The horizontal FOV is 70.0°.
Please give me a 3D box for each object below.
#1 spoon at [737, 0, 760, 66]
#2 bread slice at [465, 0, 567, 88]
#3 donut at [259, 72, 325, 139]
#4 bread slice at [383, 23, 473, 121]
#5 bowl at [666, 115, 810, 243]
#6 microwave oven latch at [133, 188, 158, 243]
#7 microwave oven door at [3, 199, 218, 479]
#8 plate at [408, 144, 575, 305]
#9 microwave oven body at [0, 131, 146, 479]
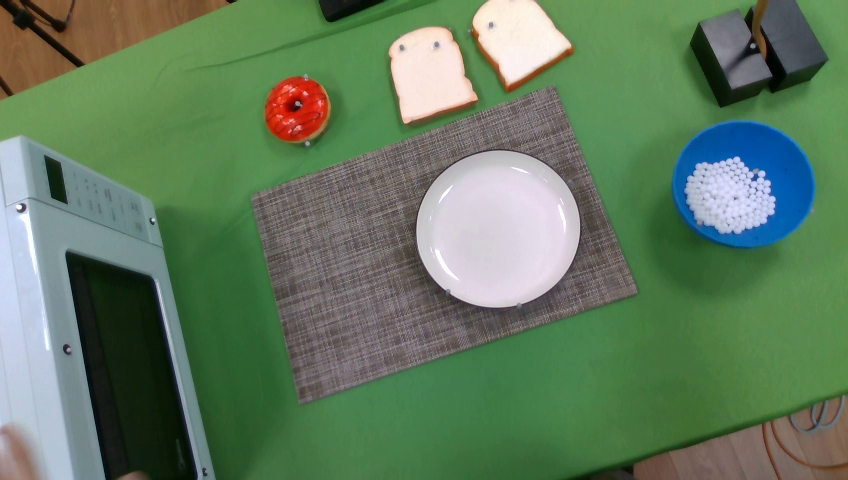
[{"bbox_3d":[0.376,-0.253,0.693,0.021,0.195,0.041,-20,72,20],"label":"spoon"},{"bbox_3d":[0.118,-0.287,0.838,0.105,0.019,0.131,-33,75,1],"label":"bread slice"},{"bbox_3d":[-0.187,-0.190,0.855,0.099,0.048,0.098,-3,78,12],"label":"donut"},{"bbox_3d":[-0.003,-0.238,0.847,0.107,0.018,0.133,-20,76,5],"label":"bread slice"},{"bbox_3d":[0.357,-0.062,0.714,0.151,0.077,0.150,-2,77,10],"label":"bowl"},{"bbox_3d":[-0.395,-0.030,0.841,0.030,0.029,0.078,-20,76,4],"label":"microwave oven latch"},{"bbox_3d":[-0.345,0.147,0.688,0.039,0.245,0.353,-21,75,5],"label":"microwave oven door"},{"bbox_3d":[0.085,-0.018,0.769,0.207,0.039,0.206,-2,78,9],"label":"plate"},{"bbox_3d":[-0.493,0.162,0.715,0.326,0.261,0.439,-21,76,4],"label":"microwave oven body"}]
